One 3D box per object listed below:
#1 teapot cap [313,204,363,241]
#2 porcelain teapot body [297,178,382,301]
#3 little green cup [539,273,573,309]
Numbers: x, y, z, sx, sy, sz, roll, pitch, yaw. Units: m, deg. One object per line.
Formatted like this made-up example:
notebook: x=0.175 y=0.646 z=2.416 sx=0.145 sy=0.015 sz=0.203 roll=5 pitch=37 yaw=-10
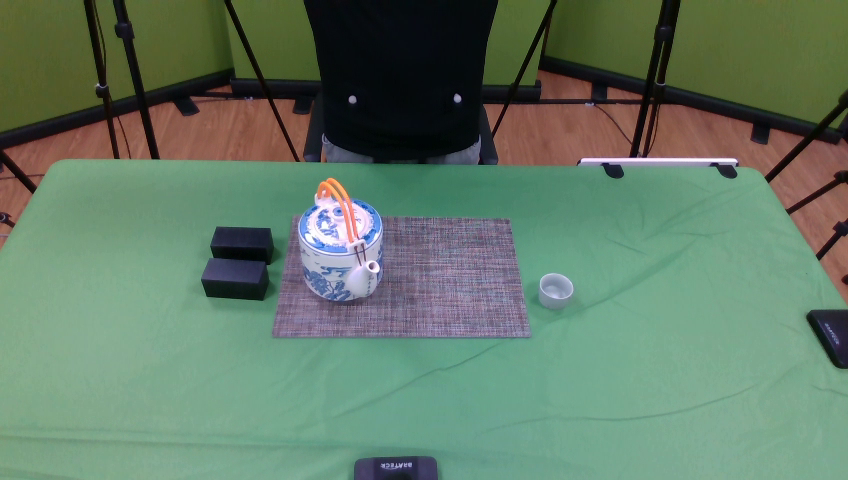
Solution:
teapot cap: x=-0.144 y=-0.034 z=1.020 sx=0.085 sy=0.044 sz=0.084 roll=2 pitch=49 yaw=-2
porcelain teapot body: x=-0.129 y=0.011 z=1.032 sx=0.145 sy=0.226 sz=0.204 roll=-24 pitch=53 yaw=-25
little green cup: x=0.240 y=0.096 z=1.113 sx=0.061 sy=0.039 sz=0.061 roll=2 pitch=47 yaw=-2
